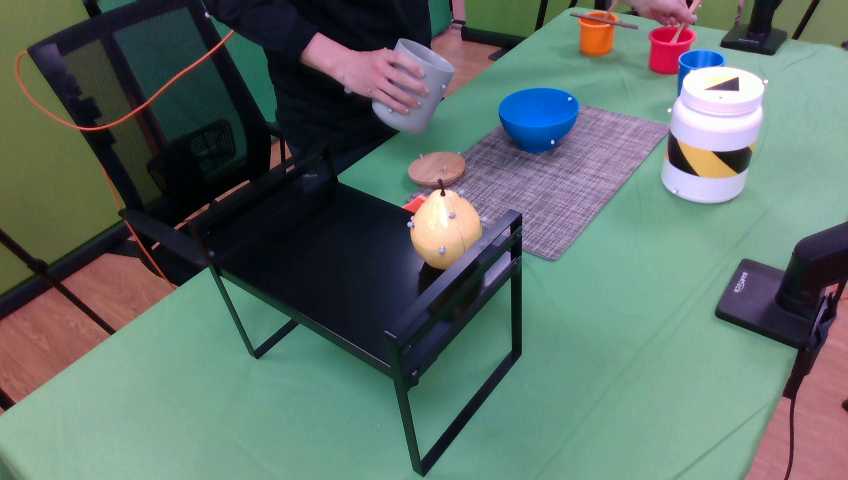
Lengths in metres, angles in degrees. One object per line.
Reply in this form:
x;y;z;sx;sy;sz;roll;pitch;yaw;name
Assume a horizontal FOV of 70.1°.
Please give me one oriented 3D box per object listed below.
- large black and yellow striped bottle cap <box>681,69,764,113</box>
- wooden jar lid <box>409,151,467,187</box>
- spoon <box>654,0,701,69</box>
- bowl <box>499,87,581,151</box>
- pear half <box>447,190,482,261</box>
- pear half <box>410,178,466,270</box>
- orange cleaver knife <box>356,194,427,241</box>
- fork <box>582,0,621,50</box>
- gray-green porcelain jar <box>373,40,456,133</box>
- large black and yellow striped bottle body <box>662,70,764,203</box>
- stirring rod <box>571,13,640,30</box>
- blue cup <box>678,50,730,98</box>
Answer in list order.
0.453;-0.229;0.921;0.115;0.019;0.114;-4;39;4;large black and yellow striped bottle cap
0.026;-0.131;1.124;0.108;0.021;0.108;-8;36;6;wooden jar lid
0.568;-0.463;1.337;0.041;0.022;0.193;33;98;38;spoon
0.220;-0.223;1.156;0.151;0.077;0.150;-4;41;4;bowl
0.046;-0.020;0.664;0.031;0.088;0.070;-17;38;-9;pear half
0.011;-0.019;0.654;0.056;0.110;0.076;-16;37;-9;pear half
-0.037;-0.029;0.973;0.210;0.077;0.012;-8;33;50;orange cleaver knife
0.446;-0.539;1.438;0.207;0.019;0.028;-57;35;12;fork
-0.021;-0.253;1.021;0.106;0.126;0.105;24;27;-13;gray-green porcelain jar
0.464;-0.166;0.976;0.131;0.185;0.130;-5;41;5;large black and yellow striped bottle body
0.418;-0.508;1.403;0.174;0.006;0.014;28;53;34;stirring rod
0.543;-0.310;1.194;0.092;0.101;0.092;-6;41;6;blue cup
